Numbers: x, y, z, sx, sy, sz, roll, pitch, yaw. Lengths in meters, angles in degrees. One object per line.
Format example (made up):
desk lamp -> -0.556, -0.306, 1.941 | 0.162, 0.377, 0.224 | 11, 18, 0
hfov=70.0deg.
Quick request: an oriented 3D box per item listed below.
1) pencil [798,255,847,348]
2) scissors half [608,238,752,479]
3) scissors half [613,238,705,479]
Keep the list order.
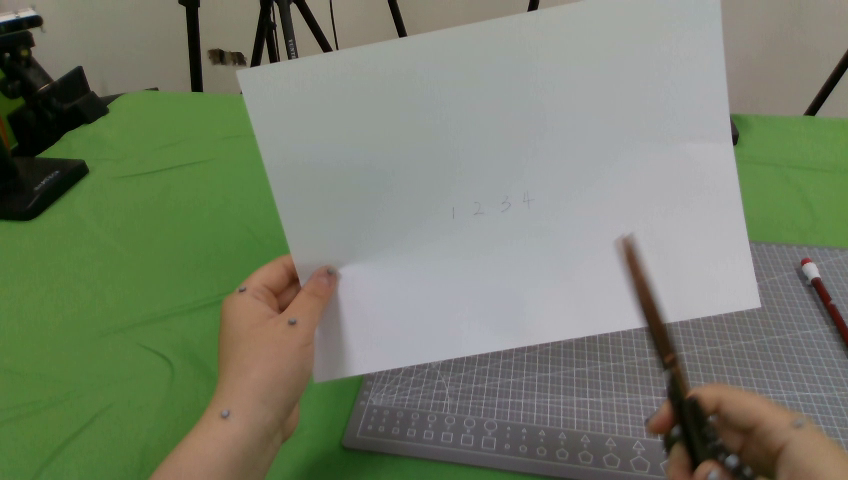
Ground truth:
pencil -> 0.356, 0.078, 0.513 | 0.012, 0.012, 0.192 | 2, 40, 6
scissors half -> 0.133, 0.078, 0.307 | 0.013, 0.040, 0.174 | -25, 84, -4
scissors half -> 0.130, 0.078, 0.328 | 0.013, 0.176, 0.040 | -25, 15, -9
